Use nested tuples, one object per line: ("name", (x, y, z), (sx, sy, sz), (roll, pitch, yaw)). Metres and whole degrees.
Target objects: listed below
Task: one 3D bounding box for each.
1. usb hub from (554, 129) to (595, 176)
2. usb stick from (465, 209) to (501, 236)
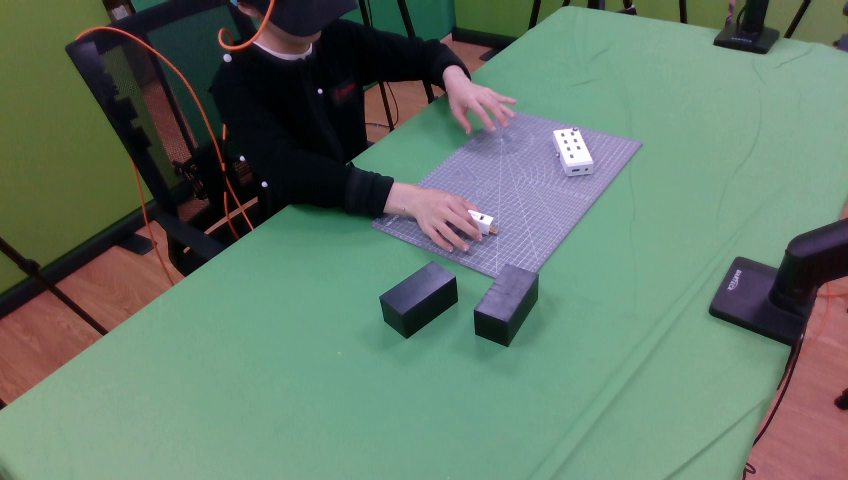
("usb hub", (0.278, -0.163, 1.119), (0.049, 0.025, 0.124), (-6, 41, 2))
("usb stick", (0.098, -0.026, 0.982), (0.059, 0.027, 0.021), (23, 48, 12))
